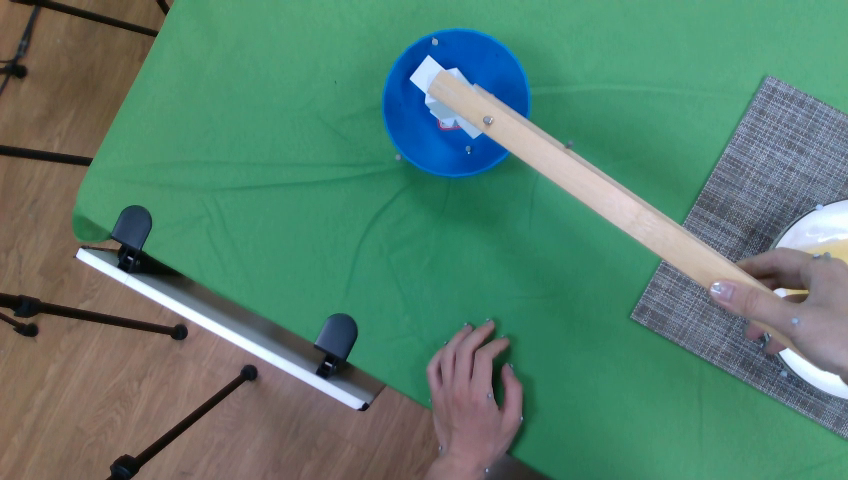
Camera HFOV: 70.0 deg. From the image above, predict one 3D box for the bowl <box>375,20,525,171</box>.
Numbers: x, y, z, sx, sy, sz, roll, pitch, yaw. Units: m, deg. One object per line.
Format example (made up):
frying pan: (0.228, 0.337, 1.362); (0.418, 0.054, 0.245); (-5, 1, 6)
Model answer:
bowl: (0.028, -0.142, 0.640); (0.151, 0.077, 0.151); (0, 89, 4)

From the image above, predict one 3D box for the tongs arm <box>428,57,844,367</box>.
tongs arm: (0.148, -0.036, 0.483); (0.385, 0.028, 0.028); (41, 102, 18)

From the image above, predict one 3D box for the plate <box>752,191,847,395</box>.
plate: (0.439, 0.054, 0.622); (0.207, 0.039, 0.207); (0, 88, 4)

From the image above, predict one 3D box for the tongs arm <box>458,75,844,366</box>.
tongs arm: (0.166, -0.035, 0.518); (0.382, 0.051, 0.026); (41, 105, 19)

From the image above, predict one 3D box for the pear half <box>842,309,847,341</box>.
pear half: (0.476, 0.084, 0.614); (0.088, 0.031, 0.070); (-29, 90, 9)

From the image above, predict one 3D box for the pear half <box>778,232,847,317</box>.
pear half: (0.419, 0.024, 0.611); (0.076, 0.056, 0.110); (39, 88, 0)
